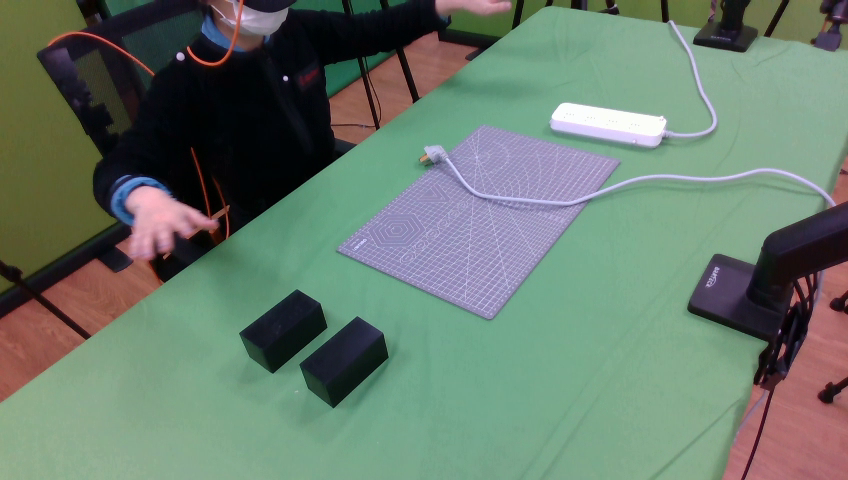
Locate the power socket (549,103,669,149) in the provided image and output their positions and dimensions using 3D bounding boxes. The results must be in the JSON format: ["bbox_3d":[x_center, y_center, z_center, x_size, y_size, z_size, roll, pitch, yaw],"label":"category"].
[{"bbox_3d":[0.353,-0.222,1.169,0.225,0.033,0.072,17,47,25],"label":"power socket"}]

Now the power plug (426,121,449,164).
[{"bbox_3d":[0.034,-0.180,1.142,0.053,0.072,0.035,33,24,-17],"label":"power plug"}]
